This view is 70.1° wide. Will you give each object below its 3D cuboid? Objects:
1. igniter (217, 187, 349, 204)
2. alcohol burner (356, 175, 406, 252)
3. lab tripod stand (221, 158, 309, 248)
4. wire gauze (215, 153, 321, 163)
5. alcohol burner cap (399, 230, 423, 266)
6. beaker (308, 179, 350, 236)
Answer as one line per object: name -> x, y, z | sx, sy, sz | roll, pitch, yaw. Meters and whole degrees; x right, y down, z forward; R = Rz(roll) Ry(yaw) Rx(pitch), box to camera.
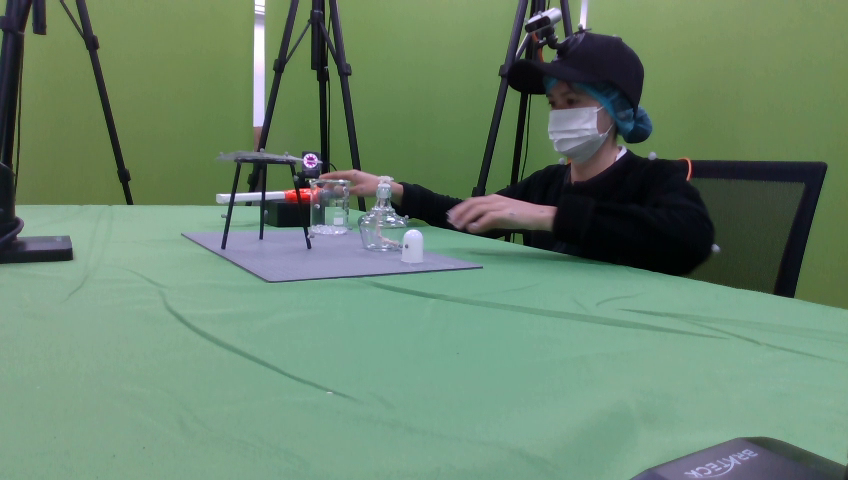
igniter -> -0.285, -0.093, 1.256 | 0.278, 0.025, 0.057 | -6, 12, -34
alcohol burner -> -0.066, -0.042, 0.940 | 0.078, 0.119, 0.078 | 4, 6, 0
lab tripod stand -> -0.244, -0.057, 0.917 | 0.148, 0.131, 0.148 | 1, 7, 0
wire gauze -> -0.235, -0.123, 0.906 | 0.126, 0.011, 0.121 | -2, 7, -33
alcohol burner cap -> -0.017, 0.010, 0.837 | 0.034, 0.048, 0.034 | 3, 7, 0
beaker -> -0.176, -0.060, 1.104 | 0.073, 0.100, 0.084 | 8, 10, 39
